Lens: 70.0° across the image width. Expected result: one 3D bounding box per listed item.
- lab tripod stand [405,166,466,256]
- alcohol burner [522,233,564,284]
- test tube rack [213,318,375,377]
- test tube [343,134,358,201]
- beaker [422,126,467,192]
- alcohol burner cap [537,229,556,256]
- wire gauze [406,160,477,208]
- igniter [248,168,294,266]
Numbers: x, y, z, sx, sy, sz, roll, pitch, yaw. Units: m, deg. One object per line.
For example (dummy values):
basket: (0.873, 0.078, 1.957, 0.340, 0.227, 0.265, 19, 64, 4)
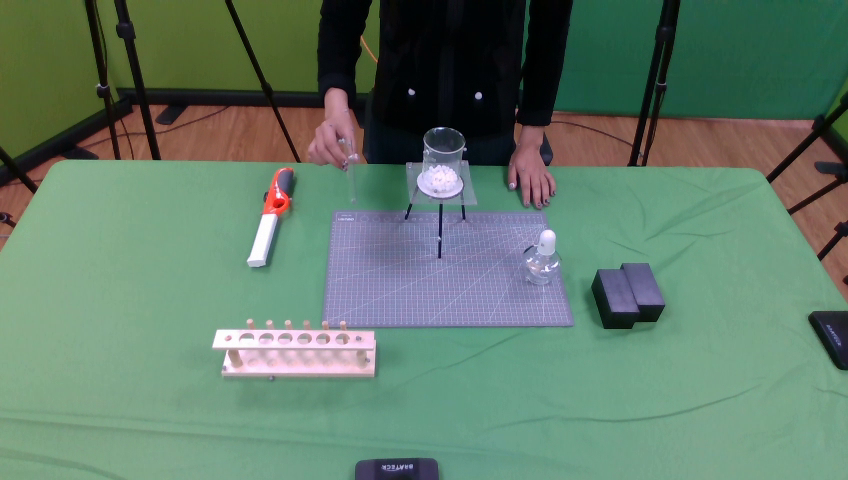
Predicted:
lab tripod stand: (0.030, -0.063, 1.180, 0.148, 0.132, 0.147, 3, 47, -3)
alcohol burner: (0.223, 0.027, 1.121, 0.078, 0.119, 0.077, 2, 48, -2)
test tube rack: (-0.202, 0.169, 0.977, 0.242, 0.085, 0.066, 1, 46, -3)
test tube: (-0.133, -0.129, 1.106, 0.017, 0.151, 0.017, 0, 47, 0)
beaker: (0.032, -0.146, 1.100, 0.074, 0.101, 0.083, -16, 50, -20)
alcohol burner cap: (0.223, 0.001, 1.095, 0.034, 0.048, 0.033, -1, 44, 1)
wire gauze: (0.031, -0.107, 1.130, 0.125, 0.011, 0.120, 1, 48, -7)
igniter: (-0.307, -0.055, 1.225, 0.057, 0.025, 0.275, -3, 45, 6)
